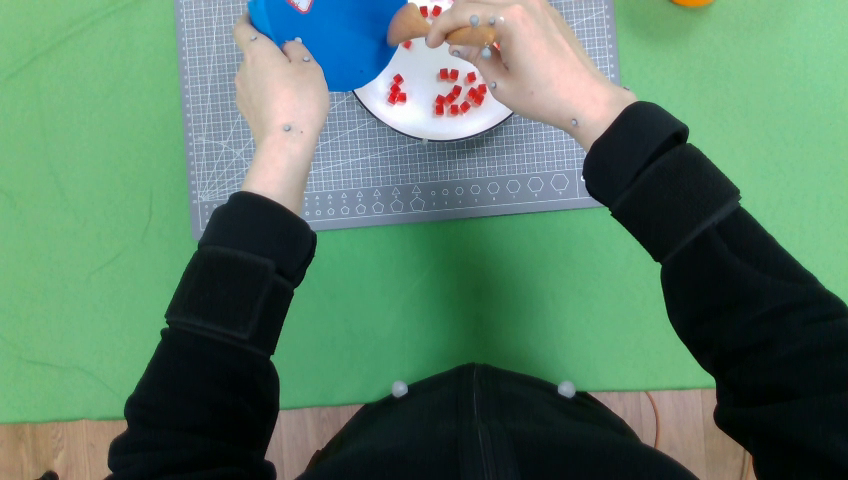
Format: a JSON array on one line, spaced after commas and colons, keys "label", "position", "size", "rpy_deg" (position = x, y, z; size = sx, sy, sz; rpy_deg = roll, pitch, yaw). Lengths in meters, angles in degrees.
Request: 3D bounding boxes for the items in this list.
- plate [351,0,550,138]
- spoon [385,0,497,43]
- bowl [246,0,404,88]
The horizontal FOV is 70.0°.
[{"label": "plate", "position": [0.019, -0.204, 0.602], "size": [0.209, 0.038, 0.209], "rpy_deg": [0, 90, 3]}, {"label": "spoon", "position": [0.009, -0.161, 0.455], "size": [0.022, 0.191, 0.041], "rpy_deg": [27, 97, -33]}, {"label": "bowl", "position": [-0.094, -0.209, 0.508], "size": [0.076, 0.153, 0.151], "rpy_deg": [22, 91, 38]}]
